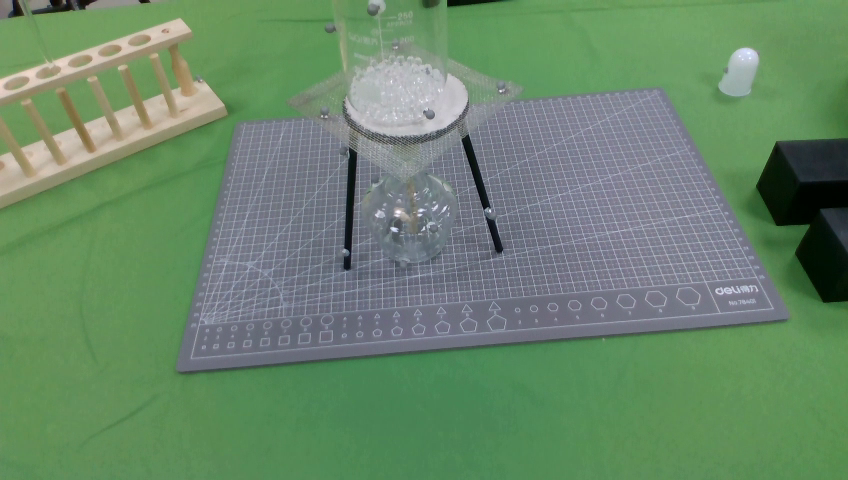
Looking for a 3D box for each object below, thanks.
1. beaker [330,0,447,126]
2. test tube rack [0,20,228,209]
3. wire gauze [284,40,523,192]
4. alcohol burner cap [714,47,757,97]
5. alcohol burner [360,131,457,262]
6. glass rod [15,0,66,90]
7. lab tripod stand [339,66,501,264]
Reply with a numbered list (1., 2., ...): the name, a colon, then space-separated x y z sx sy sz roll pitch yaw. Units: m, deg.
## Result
1. beaker: -0.023 -0.132 0.388 0.084 0.101 0.073 10 49 12
2. test tube rack: -0.330 -0.126 0.595 0.242 0.086 0.066 -29 52 -21
3. wire gauze: -0.014 -0.097 0.423 0.124 0.011 0.121 36 60 27
4. alcohol burner cap: 0.323 -0.176 0.624 0.034 0.048 0.033 -2 47 2
5. alcohol burner: -0.013 -0.038 0.471 0.078 0.120 0.077 -1 49 1
6. glass rod: -0.343 -0.170 0.546 0.008 0.201 0.008 2 48 -1
7. lab tripod stand: -0.007 -0.055 0.473 0.148 0.133 0.147 -1 47 1
